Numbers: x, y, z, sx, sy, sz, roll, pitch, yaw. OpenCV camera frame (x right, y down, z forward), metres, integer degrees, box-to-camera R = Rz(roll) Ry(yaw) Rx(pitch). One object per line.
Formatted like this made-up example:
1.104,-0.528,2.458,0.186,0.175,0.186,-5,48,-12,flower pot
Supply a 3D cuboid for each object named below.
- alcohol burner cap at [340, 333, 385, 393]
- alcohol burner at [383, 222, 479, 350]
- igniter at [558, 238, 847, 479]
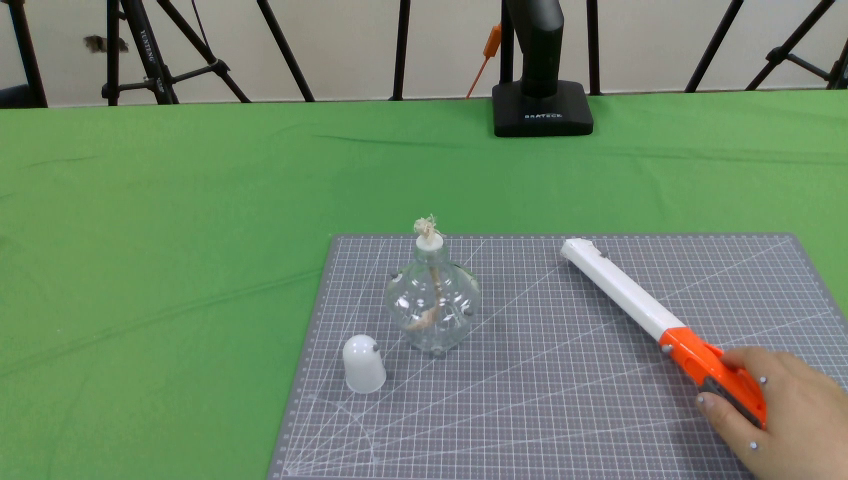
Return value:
-0.049,0.092,0.467,0.034,0.048,0.033,-2,42,2,alcohol burner cap
0.005,0.031,0.478,0.078,0.120,0.077,-1,42,1,alcohol burner
0.201,0.081,0.470,0.057,0.025,0.273,2,32,-35,igniter
